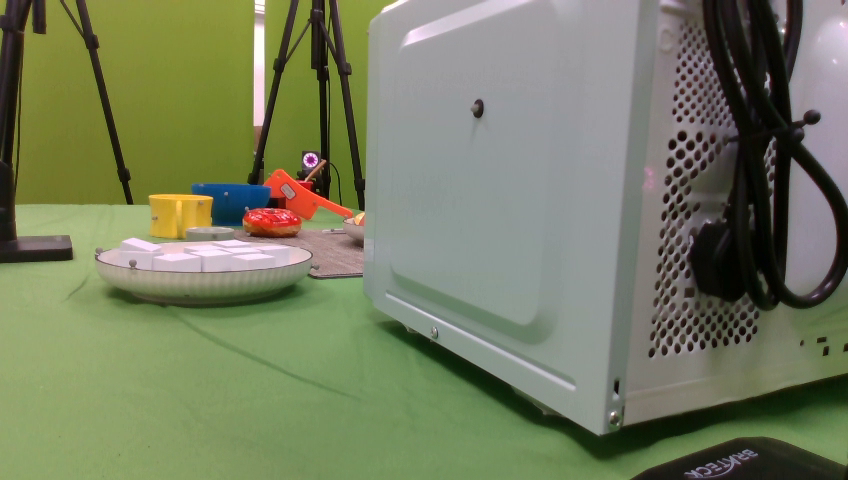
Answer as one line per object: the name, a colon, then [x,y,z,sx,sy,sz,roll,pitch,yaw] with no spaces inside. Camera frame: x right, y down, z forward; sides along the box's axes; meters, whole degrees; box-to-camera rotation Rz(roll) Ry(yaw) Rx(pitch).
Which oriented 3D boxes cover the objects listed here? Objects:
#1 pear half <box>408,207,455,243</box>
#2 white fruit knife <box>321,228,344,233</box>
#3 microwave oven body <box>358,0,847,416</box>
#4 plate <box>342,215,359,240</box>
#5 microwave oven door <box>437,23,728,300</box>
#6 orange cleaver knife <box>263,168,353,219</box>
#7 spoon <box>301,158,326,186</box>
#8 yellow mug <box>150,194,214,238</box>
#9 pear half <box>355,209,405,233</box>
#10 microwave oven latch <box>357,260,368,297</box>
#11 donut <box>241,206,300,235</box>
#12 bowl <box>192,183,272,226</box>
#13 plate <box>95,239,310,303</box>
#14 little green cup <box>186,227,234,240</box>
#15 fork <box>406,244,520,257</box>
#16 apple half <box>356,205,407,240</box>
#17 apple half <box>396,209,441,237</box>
pear half: [0.018,-0.026,1.000,0.076,0.056,0.110,10,7,19]
white fruit knife: [-0.097,-0.022,1.142,0.208,0.016,0.027,-4,-21,-32]
microwave oven body: [0.211,-0.047,0.475,0.444,0.260,0.324,-1,7,-28]
plate: [-0.033,-0.014,1.005,0.209,0.038,0.209,2,8,0]
microwave oven door: [0.180,-0.072,0.621,0.358,0.243,0.039,-2,8,-29]
orange cleaver knife: [-0.262,-0.088,1.352,0.211,0.077,0.012,27,13,0]
spoon: [-0.320,-0.161,1.646,0.041,0.022,0.194,6,53,35]
yellow mug: [-0.401,-0.040,1.003,0.100,0.064,0.130,-1,9,-20]
pear half: [-0.075,-0.035,1.045,0.088,0.031,0.070,5,26,-7]
microwave oven latch: [-0.019,0.033,0.531,0.079,0.029,0.030,-1,7,-27]
donut: [-0.263,-0.032,1.039,0.099,0.048,0.099,4,9,0]
bowl: [-0.381,-0.071,1.202,0.151,0.077,0.151,3,7,0]
plate: [-0.224,0.031,0.629,0.208,0.039,0.207,2,7,0]
little green cup: [-0.285,0.005,0.805,0.061,0.038,0.061,2,8,0]
fork: [0.064,0.016,0.893,0.208,0.018,0.028,-3,0,-35]
apple half: [-0.065,-0.028,0.970,0.081,0.053,0.074,3,8,-27]
apple half: [-0.008,-0.036,1.053,0.081,0.033,0.081,13,26,-6]
